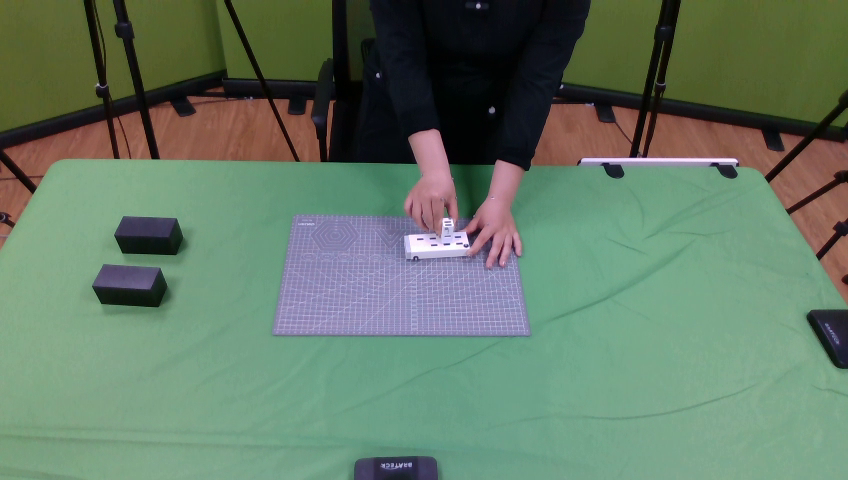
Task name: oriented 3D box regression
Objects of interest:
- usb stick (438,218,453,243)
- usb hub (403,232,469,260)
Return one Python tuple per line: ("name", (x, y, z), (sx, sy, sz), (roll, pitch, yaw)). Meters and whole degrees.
("usb stick", (0.041, -0.012, 1.166), (0.021, 0.059, 0.027), (-3, 49, -12))
("usb hub", (0.023, 0.012, 1.182), (0.125, 0.025, 0.049), (-3, 46, -7))
